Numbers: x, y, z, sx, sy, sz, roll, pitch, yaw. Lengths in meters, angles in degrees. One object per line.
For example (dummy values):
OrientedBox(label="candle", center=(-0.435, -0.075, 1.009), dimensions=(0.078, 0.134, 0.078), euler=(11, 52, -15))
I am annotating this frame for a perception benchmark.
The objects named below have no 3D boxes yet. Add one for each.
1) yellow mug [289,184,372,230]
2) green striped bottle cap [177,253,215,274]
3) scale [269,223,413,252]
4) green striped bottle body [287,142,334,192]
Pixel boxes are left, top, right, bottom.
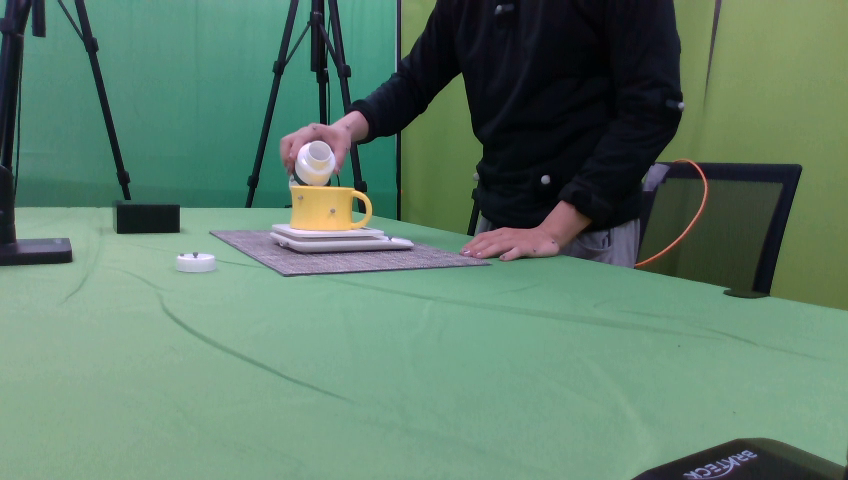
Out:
OrientedBox(label="yellow mug", center=(-0.145, -0.052, 0.944), dimensions=(0.131, 0.064, 0.100), euler=(4, 6, 9))
OrientedBox(label="green striped bottle cap", center=(-0.279, 0.028, 0.741), dimensions=(0.044, 0.020, 0.044), euler=(5, 6, 0))
OrientedBox(label="scale", center=(-0.132, -0.007, 0.965), dimensions=(0.202, 0.031, 0.148), euler=(-2, 8, -31))
OrientedBox(label="green striped bottle body", center=(-0.189, -0.118, 1.011), dimensions=(0.063, 0.063, 0.119), euler=(-1, -22, -23))
